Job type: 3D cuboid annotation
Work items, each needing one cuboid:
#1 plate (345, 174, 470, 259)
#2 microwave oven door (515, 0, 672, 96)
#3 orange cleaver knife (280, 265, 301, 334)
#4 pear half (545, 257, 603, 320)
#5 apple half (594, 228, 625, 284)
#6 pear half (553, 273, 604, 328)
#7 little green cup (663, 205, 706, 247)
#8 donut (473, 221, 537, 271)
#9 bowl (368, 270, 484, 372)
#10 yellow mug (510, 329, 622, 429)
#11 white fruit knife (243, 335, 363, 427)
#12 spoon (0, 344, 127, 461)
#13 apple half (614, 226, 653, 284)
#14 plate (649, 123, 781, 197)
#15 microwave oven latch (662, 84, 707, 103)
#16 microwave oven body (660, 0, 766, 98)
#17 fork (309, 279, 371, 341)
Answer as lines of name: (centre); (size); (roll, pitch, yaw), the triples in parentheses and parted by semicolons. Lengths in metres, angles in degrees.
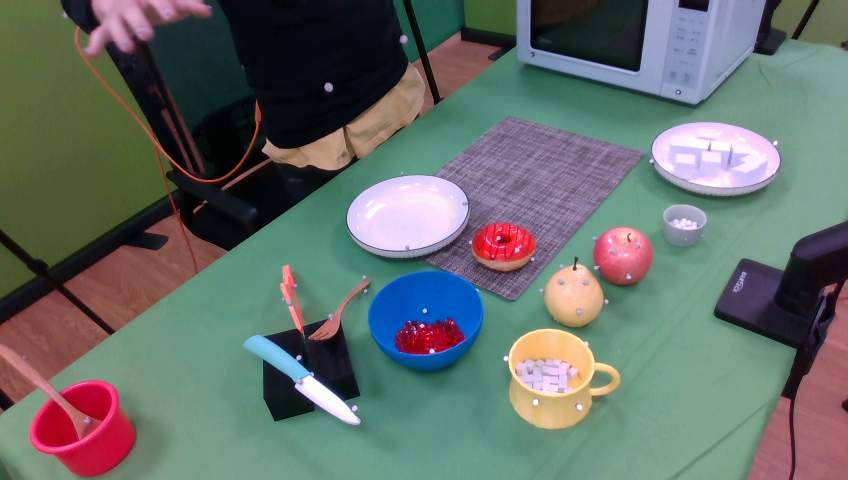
plate: (-0.026, -0.037, 1.004); (0.209, 0.038, 0.208); (-4, 40, 4)
microwave oven door: (0.343, -0.454, 1.259); (0.353, 0.245, 0.039); (26, 51, 33)
orange cleaver knife: (-0.188, 0.081, 0.862); (0.012, 0.077, 0.210); (-20, 12, -9)
pear half: (0.197, 0.056, 0.811); (0.076, 0.110, 0.055); (-14, 41, -13)
apple half: (0.259, 0.026, 0.864); (0.033, 0.081, 0.081); (-3, 40, 0)
pear half: (0.208, 0.086, 0.791); (0.071, 0.088, 0.031); (-14, 39, -15)
little green cup: (0.396, -0.021, 0.926); (0.061, 0.039, 0.061); (-4, 40, 4)
donut: (0.123, 0.008, 0.923); (0.099, 0.048, 0.098); (-4, 38, 3)
bowl: (0.006, 0.119, 0.791); (0.151, 0.077, 0.150); (-5, 40, 4)
yellow mug: (0.168, 0.164, 0.722); (0.130, 0.064, 0.099); (0, 40, 8)
white fruit knife: (-0.148, 0.167, 0.729); (0.206, 0.016, 0.027); (27, 80, 31)
spoon: (-0.433, 0.191, 0.721); (0.194, 0.021, 0.042); (47, 55, -7)
apple half: (0.298, 0.023, 0.864); (0.053, 0.075, 0.080); (-3, 37, 1)
plate: (0.497, -0.135, 1.046); (0.207, 0.039, 0.206); (-4, 40, 4)
microwave oven latch: (0.517, -0.296, 1.204); (0.078, 0.029, 0.030); (27, 52, 35)
microwave oven body: (0.472, -0.513, 1.317); (0.438, 0.261, 0.327); (26, 51, 34)
fork: (-0.109, 0.093, 0.832); (0.028, 0.018, 0.207); (-4, 19, 15)
